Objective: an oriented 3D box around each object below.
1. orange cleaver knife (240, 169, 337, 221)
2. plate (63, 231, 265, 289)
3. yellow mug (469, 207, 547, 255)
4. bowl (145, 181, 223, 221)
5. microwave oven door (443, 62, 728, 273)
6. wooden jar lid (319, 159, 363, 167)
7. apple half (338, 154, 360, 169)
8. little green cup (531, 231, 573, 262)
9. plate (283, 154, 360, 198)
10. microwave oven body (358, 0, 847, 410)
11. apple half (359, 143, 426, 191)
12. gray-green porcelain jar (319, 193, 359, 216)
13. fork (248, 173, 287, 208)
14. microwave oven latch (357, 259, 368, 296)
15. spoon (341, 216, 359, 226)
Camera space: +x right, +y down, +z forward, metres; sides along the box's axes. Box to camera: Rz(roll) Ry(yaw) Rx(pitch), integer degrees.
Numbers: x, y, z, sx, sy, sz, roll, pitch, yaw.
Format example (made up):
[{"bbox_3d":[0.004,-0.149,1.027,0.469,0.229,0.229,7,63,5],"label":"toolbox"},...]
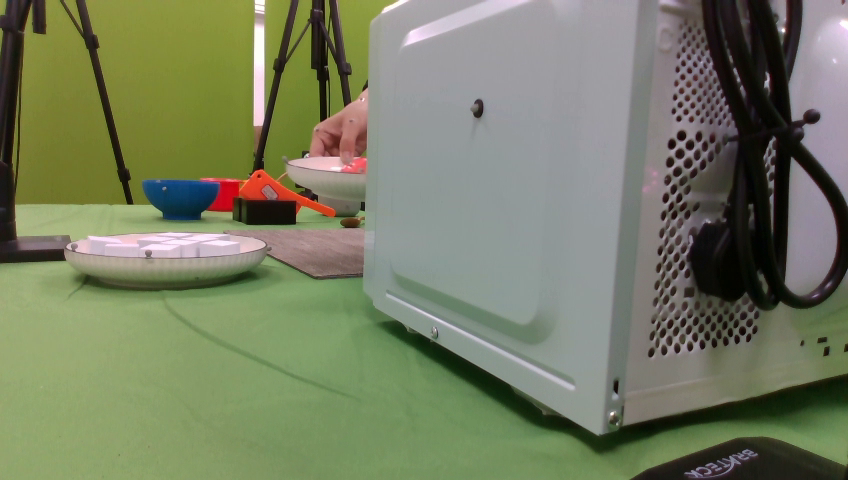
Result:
[{"bbox_3d":[-0.286,-0.082,1.298,0.212,0.077,0.012,25,-2,-31],"label":"orange cleaver knife"},{"bbox_3d":[-0.288,0.021,0.687,0.208,0.039,0.207,2,8,0],"label":"plate"},{"bbox_3d":[0.137,-0.015,0.951,0.131,0.064,0.099,1,7,-21],"label":"yellow mug"},{"bbox_3d":[-0.499,-0.082,1.261,0.151,0.077,0.151,2,8,0],"label":"bowl"},{"bbox_3d":[0.188,-0.097,0.784,0.354,0.243,0.039,6,9,31],"label":"microwave oven door"},{"bbox_3d":[-0.203,-0.189,1.482,0.108,0.020,0.108,2,10,0],"label":"wooden jar lid"},{"bbox_3d":[-0.076,-0.096,0.796,0.081,0.033,0.081,3,16,0],"label":"apple half"},{"bbox_3d":[0.185,0.010,0.879,0.061,0.038,0.061,1,8,0],"label":"little green cup"},{"bbox_3d":[-0.067,-0.080,0.752,0.209,0.038,0.209,2,12,0],"label":"plate"},{"bbox_3d":[0.210,-0.051,0.471,0.444,0.260,0.324,-1,7,-28],"label":"microwave oven body"},{"bbox_3d":[-0.036,-0.089,0.726,0.074,0.053,0.081,9,13,16],"label":"apple half"},{"bbox_3d":[-0.205,-0.126,1.490,0.106,0.126,0.106,1,8,0],"label":"gray-green porcelain jar"},{"bbox_3d":[-0.360,-0.147,1.523,0.207,0.019,0.028,-43,17,-6],"label":"fork"},{"bbox_3d":[-0.019,0.031,0.529,0.079,0.029,0.030,-1,7,-26],"label":"microwave oven latch"},{"bbox_3d":[-0.132,-0.048,1.305,0.041,0.021,0.194,-14,4,14],"label":"spoon"}]
